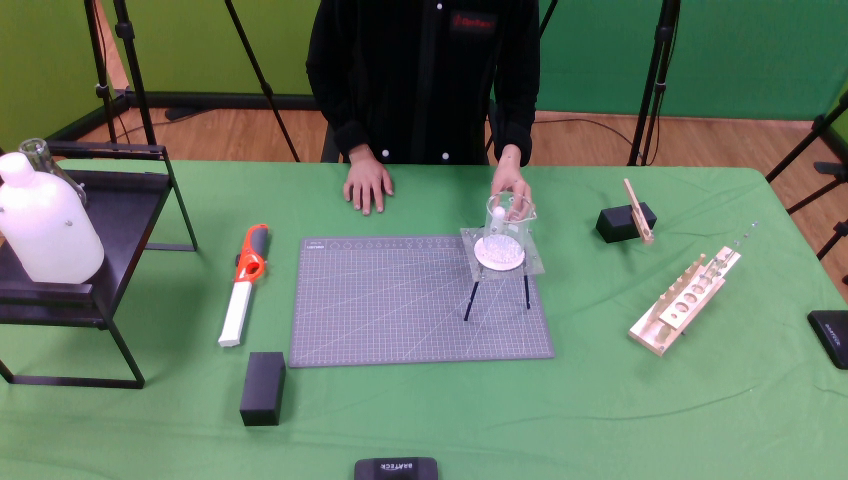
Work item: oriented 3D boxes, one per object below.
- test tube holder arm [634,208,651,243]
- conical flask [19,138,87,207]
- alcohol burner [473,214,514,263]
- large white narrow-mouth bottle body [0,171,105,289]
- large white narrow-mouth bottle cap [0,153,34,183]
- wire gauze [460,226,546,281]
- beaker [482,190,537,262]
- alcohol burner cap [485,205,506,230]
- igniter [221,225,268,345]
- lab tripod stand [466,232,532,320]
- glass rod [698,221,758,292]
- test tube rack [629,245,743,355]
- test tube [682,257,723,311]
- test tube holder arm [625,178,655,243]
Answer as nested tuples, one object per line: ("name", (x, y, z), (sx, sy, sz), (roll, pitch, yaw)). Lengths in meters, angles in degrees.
("test tube holder arm", (0.428, -0.030, 1.189), (0.010, 0.015, 0.087), (1, 47, -2))
("conical flask", (-0.576, -0.097, 0.930), (0.075, 0.122, 0.075), (2, 46, -2))
("alcohol burner", (0.133, -0.013, 1.149), (0.078, 0.120, 0.077), (0, 47, 0))
("large white narrow-mouth bottle body", (-0.513, -0.029, 0.818), (0.102, 0.195, 0.101), (2, 46, -2))
("large white narrow-mouth bottle cap", (-0.510, -0.090, 0.754), (0.038, 0.024, 0.037), (2, 46, -2))
("wire gauze", (0.130, 0.017, 1.016), (0.121, 0.011, 0.124), (-4, 43, -9))
("beaker", (0.136, -0.019, 0.983), (0.084, 0.101, 0.073), (17, 47, 14))
("alcohol burner cap", (0.135, -0.045, 1.121), (0.034, 0.048, 0.033), (6, 52, -8))
("igniter", (-0.323, 0.072, 1.100), (0.057, 0.025, 0.274), (-6, 45, 5))
("lab tripod stand", (0.125, 0.059, 1.065), (0.148, 0.132, 0.147), (1, 45, 0))
("glass rod", (0.527, 0.035, 1.059), (0.008, 0.200, 0.008), (5, 49, -6))
("test tube rack", (0.474, 0.095, 1.091), (0.242, 0.085, 0.066), (-34, 56, -31))
("test tube", (0.475, 0.080, 1.037), (0.017, 0.151, 0.017), (1, 50, -1))
("test tube holder arm", (0.433, -0.063, 1.220), (0.013, 0.015, 0.177), (1, 47, -3))
